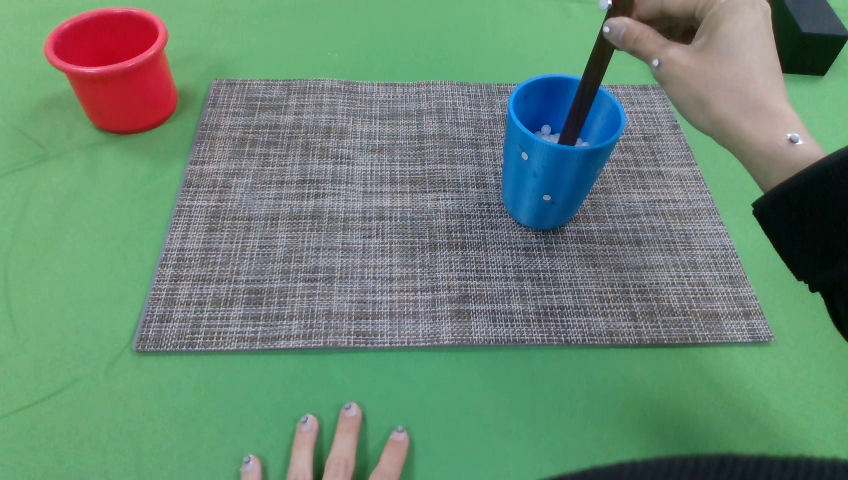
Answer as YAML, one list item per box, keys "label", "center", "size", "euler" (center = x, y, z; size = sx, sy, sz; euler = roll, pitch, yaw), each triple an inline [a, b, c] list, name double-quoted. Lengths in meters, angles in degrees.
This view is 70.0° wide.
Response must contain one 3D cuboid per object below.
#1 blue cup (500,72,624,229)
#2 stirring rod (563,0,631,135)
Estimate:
- label: "blue cup"
  center: [0.097, -0.063, 0.472]
  size: [0.093, 0.101, 0.091]
  euler: [3, 51, -3]
- label: "stirring rod"
  center: [0.114, -0.118, 0.403]
  size: [0.014, 0.177, 0.006]
  euler: [20, 51, 8]
